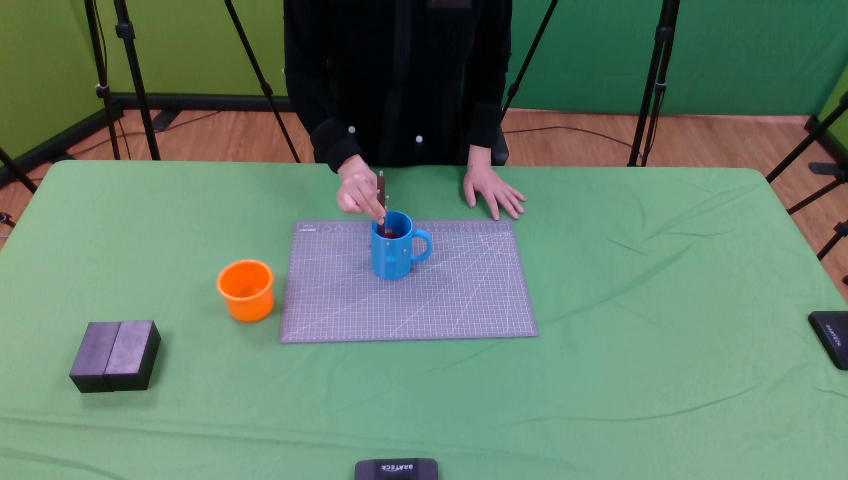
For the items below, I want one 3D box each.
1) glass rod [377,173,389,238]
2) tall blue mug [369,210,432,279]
[{"bbox_3d":[-0.070,-0.039,1.071,0.008,0.201,0.008,-2,45,2],"label":"glass rod"},{"bbox_3d":[-0.048,0.005,1.125,0.107,0.108,0.077,-19,50,-21],"label":"tall blue mug"}]
